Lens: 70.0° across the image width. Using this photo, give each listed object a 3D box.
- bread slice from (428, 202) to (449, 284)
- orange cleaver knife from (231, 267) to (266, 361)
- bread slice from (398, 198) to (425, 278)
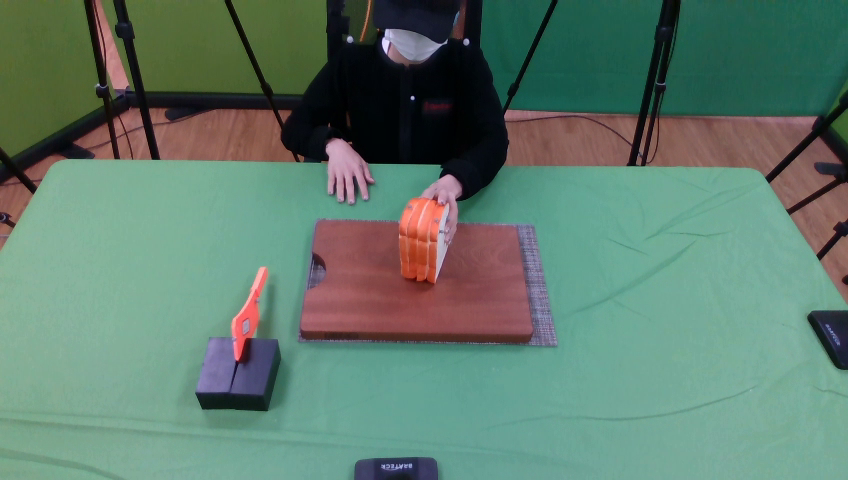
[{"bbox_3d":[0.026,0.000,1.080,0.018,0.135,0.106,8,49,11],"label":"bread slice"},{"bbox_3d":[-0.292,0.119,1.019,0.012,0.077,0.210,-1,27,0],"label":"orange cleaver knife"},{"bbox_3d":[-0.023,-0.012,1.091,0.019,0.132,0.104,11,44,15],"label":"bread slice"}]
